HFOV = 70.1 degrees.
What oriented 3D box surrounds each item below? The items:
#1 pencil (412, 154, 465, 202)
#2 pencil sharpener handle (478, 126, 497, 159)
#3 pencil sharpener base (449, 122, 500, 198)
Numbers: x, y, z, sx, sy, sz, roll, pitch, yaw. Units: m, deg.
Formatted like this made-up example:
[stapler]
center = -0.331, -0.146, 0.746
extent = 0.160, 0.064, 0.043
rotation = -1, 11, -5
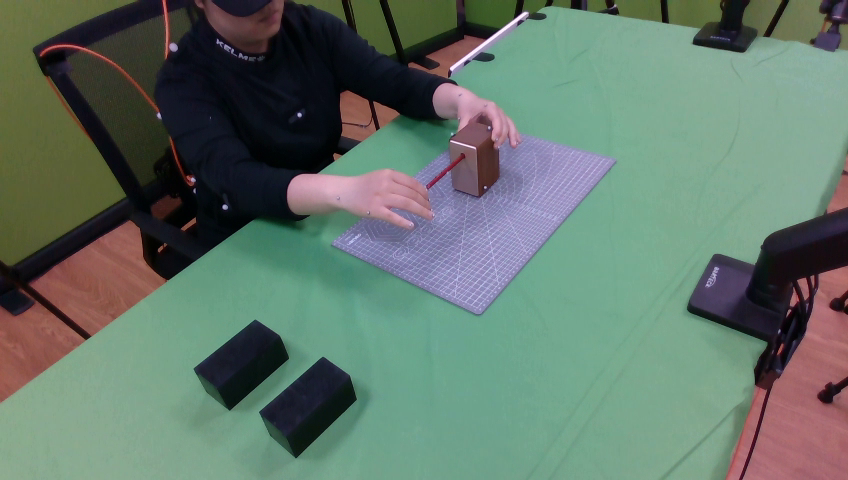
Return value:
[pencil]
center = 0.039, -0.116, 0.987
extent = 0.012, 0.012, 0.194
rotation = 20, 45, 29
[pencil sharpener handle]
center = 0.118, -0.179, 1.075
extent = 0.035, 0.068, 0.031
rotation = 22, 48, 28
[pencil sharpener base]
center = 0.090, -0.140, 1.052
extent = 0.061, 0.107, 0.077
rotation = 21, 47, 30
